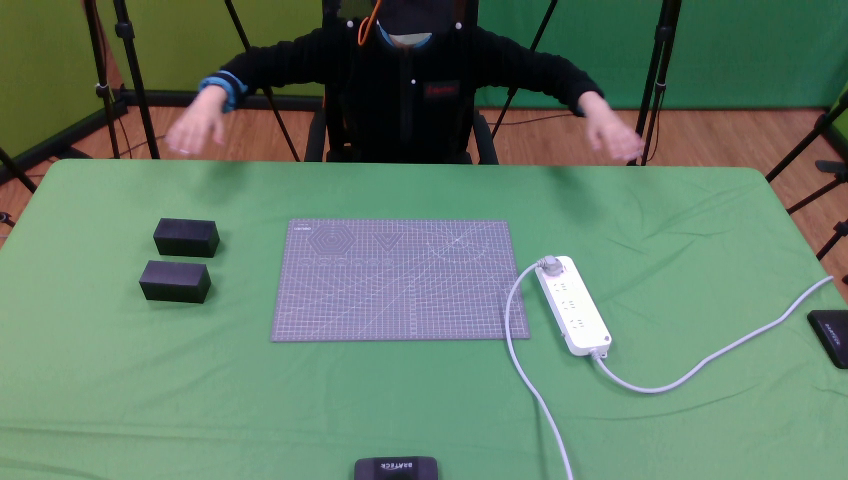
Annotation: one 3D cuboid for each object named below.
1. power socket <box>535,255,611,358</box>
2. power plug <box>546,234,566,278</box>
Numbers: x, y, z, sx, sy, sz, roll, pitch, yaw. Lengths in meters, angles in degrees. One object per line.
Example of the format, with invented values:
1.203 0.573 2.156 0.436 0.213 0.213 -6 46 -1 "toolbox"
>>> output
0.266 0.114 1.098 0.072 0.033 0.225 -7 47 -9 "power socket"
0.241 0.031 1.107 0.035 0.073 0.052 0 31 11 "power plug"
